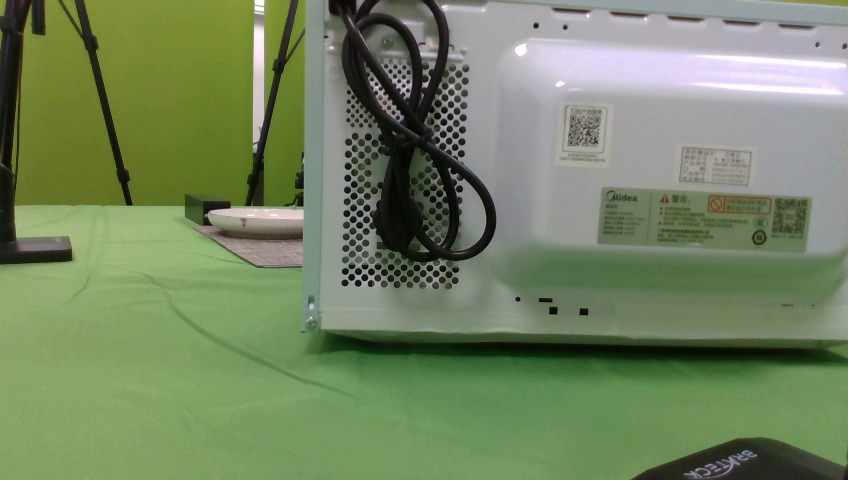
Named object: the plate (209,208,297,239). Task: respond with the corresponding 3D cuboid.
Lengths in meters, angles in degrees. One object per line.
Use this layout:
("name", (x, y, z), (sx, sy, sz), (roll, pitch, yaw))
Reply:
("plate", (-0.271, -0.029, 1.074), (0.208, 0.039, 0.207), (3, 7, 0))

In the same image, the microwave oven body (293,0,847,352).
("microwave oven body", (0.122, -0.055, 0.550), (0.442, 0.260, 0.325), (3, 7, -5))

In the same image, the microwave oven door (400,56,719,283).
("microwave oven door", (0.155, -0.077, 0.698), (0.356, 0.243, 0.039), (2, 8, -5))

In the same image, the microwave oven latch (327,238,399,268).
("microwave oven latch", (-0.069, 0.015, 0.694), (0.079, 0.029, 0.030), (3, 7, -3))
